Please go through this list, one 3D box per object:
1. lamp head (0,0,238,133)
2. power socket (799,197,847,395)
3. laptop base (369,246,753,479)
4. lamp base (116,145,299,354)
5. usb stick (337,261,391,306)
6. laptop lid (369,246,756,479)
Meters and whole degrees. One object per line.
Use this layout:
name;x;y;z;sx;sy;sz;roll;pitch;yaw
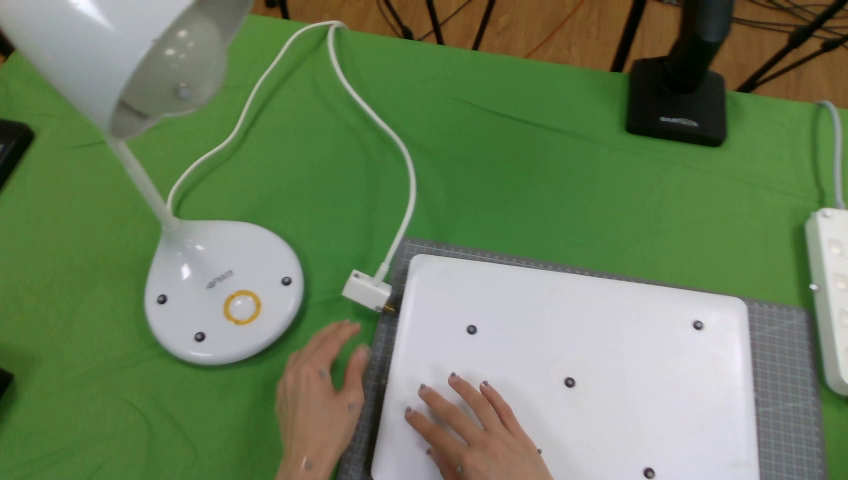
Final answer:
lamp head;-0.170;-0.130;0.300;0.123;0.112;0.112;37;65;-9
power socket;0.449;0.052;0.641;0.072;0.033;0.225;9;63;2
laptop base;0.138;0.134;0.601;0.354;0.023;0.234;7;66;3
lamp base;-0.222;0.000;0.573;0.178;0.182;0.160;35;67;19
usb stick;-0.058;0.047;0.628;0.059;0.027;0.021;29;21;-12
laptop lid;0.138;0.131;0.589;0.356;0.013;0.240;9;65;4
